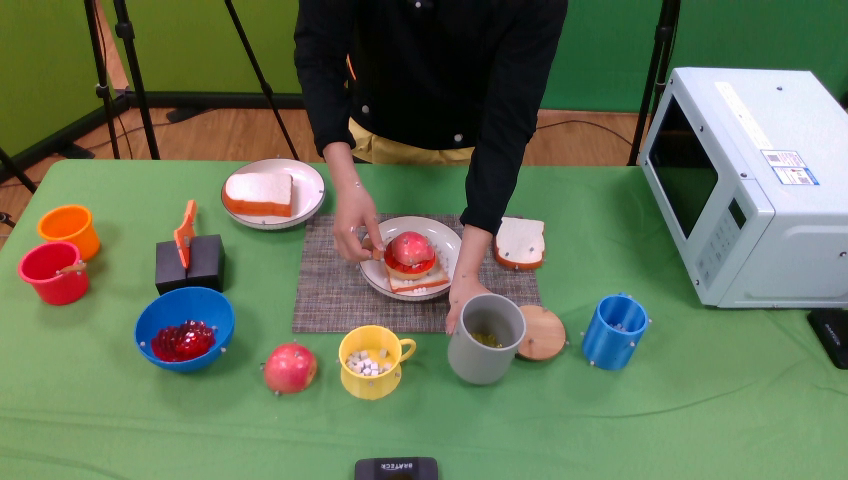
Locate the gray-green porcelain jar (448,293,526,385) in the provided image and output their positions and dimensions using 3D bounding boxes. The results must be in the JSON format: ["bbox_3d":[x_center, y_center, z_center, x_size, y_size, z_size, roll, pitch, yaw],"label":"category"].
[{"bbox_3d":[0.096,0.163,0.967,0.106,0.127,0.105,5,49,-6],"label":"gray-green porcelain jar"}]

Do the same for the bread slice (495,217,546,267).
[{"bbox_3d":[0.194,0.003,1.205,0.105,0.019,0.131,4,44,3],"label":"bread slice"}]

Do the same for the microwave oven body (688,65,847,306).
[{"bbox_3d":[0.669,-0.111,1.176,0.326,0.261,0.439,0,46,-3],"label":"microwave oven body"}]

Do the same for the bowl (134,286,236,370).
[{"bbox_3d":[-0.377,0.156,0.981,0.151,0.077,0.150,2,46,-2],"label":"bowl"}]

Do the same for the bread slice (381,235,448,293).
[{"bbox_3d":[-0.026,0.043,1.146,0.107,0.018,0.133,-12,54,-17],"label":"bread slice"}]

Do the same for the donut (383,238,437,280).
[{"bbox_3d":[-0.025,0.029,1.110,0.099,0.048,0.098,2,47,-2],"label":"donut"}]

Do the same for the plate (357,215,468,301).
[{"bbox_3d":[-0.022,0.037,1.141,0.208,0.039,0.206,2,46,-2],"label":"plate"}]

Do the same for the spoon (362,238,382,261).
[{"bbox_3d":[-0.087,0.015,1.049,0.042,0.193,0.021,28,90,-9],"label":"spoon"}]

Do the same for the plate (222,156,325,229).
[{"bbox_3d":[-0.308,-0.095,1.251,0.209,0.038,0.208,2,47,-2],"label":"plate"}]

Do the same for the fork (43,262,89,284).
[{"bbox_3d":[-0.599,0.053,1.014,0.207,0.019,0.028,-14,30,45],"label":"fork"}]

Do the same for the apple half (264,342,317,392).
[{"bbox_3d":[-0.214,0.198,0.970,0.074,0.053,0.080,19,48,10],"label":"apple half"}]

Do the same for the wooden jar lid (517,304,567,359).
[{"bbox_3d":[0.192,0.161,1.051,0.108,0.021,0.107,2,50,-3],"label":"wooden jar lid"}]

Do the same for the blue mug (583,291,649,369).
[{"bbox_3d":[0.324,0.142,1.023,0.082,0.106,0.116,15,47,11],"label":"blue mug"}]

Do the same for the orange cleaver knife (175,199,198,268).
[{"bbox_3d":[-0.438,-0.017,1.138,0.012,0.077,0.210,-13,27,-7],"label":"orange cleaver knife"}]

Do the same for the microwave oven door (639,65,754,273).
[{"bbox_3d":[0.522,-0.147,1.193,0.039,0.245,0.353,0,47,-3],"label":"microwave oven door"}]

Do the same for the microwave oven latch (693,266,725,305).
[{"bbox_3d":[0.523,0.081,1.115,0.030,0.029,0.078,3,46,0],"label":"microwave oven latch"}]

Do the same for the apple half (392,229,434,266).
[{"bbox_3d":[-0.021,0.005,1.083,0.081,0.033,0.081,6,48,-7],"label":"apple half"}]

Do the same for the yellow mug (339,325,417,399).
[{"bbox_3d":[-0.072,0.190,0.978,0.131,0.064,0.099,-17,50,-20],"label":"yellow mug"}]
